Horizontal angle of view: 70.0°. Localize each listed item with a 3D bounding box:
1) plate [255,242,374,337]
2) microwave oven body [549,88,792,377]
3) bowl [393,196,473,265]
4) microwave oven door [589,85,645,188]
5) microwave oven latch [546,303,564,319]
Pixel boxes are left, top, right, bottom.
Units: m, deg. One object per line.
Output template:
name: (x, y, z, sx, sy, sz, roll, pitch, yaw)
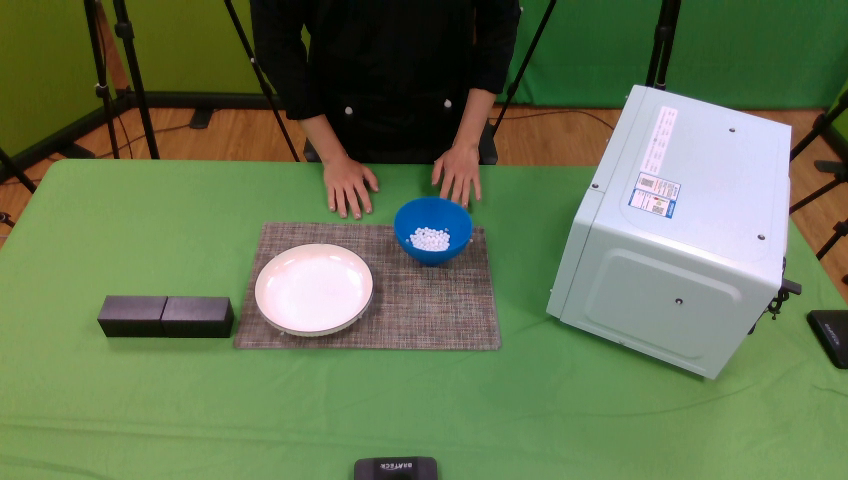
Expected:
plate: (-0.192, 0.090, 1.079, 0.208, 0.039, 0.206, 2, 46, -2)
microwave oven body: (0.456, -0.028, 1.088, 0.325, 0.261, 0.440, 20, 47, 16)
bowl: (0.014, -0.005, 1.159, 0.151, 0.077, 0.150, 2, 46, -2)
microwave oven door: (0.342, -0.107, 1.149, 0.039, 0.245, 0.354, 20, 48, 15)
microwave oven latch: (0.242, 0.102, 1.081, 0.030, 0.029, 0.079, 21, 48, 17)
